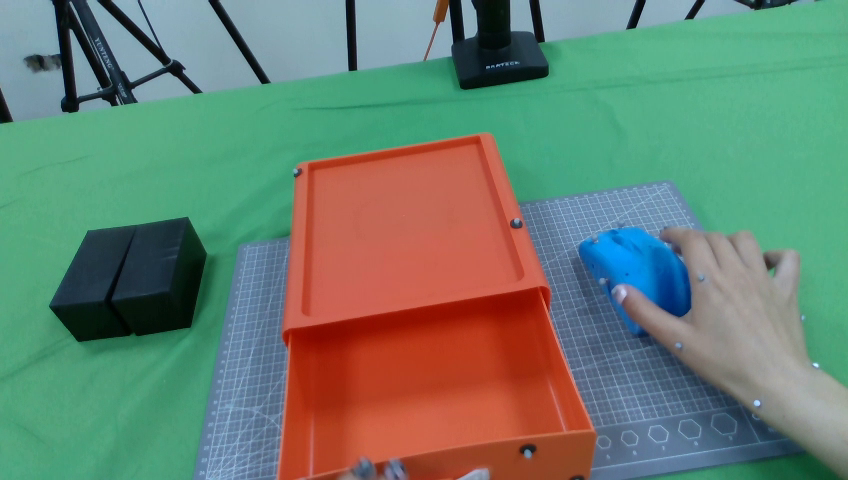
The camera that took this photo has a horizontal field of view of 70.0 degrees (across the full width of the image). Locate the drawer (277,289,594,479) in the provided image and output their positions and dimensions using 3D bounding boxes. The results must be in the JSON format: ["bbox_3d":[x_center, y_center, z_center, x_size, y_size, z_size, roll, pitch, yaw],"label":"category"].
[{"bbox_3d":[-0.002,0.088,0.453,0.194,0.074,0.209,-10,42,0],"label":"drawer"}]

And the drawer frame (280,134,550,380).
[{"bbox_3d":[-0.015,0.009,0.535,0.202,0.083,0.211,-10,42,-1],"label":"drawer frame"}]

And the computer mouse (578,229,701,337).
[{"bbox_3d":[0.180,0.029,0.516,0.063,0.041,0.116,-16,39,-4],"label":"computer mouse"}]
